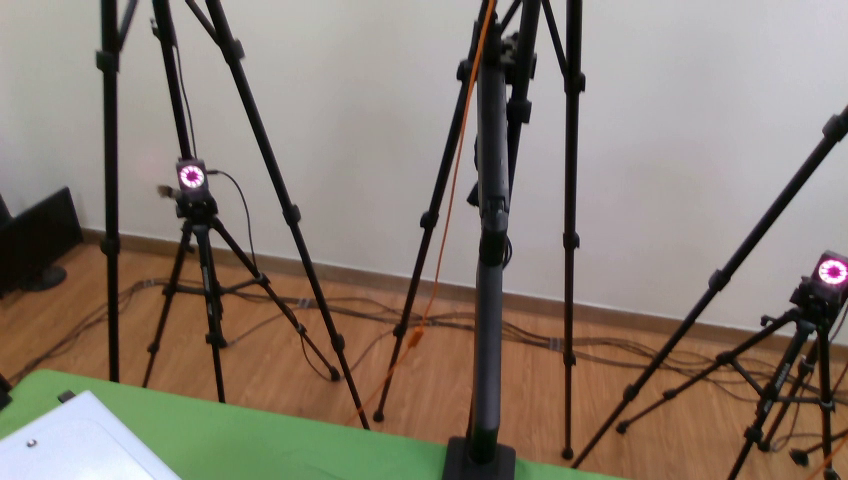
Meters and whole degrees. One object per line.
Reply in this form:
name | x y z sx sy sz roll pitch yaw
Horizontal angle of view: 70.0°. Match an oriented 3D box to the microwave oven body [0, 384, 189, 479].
microwave oven body | -0.482 0.433 0.670 0.323 0.262 0.441 26 41 28
